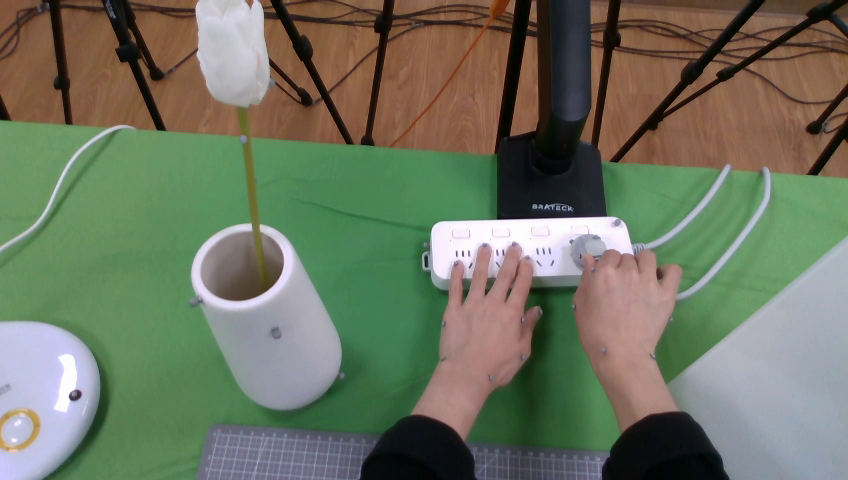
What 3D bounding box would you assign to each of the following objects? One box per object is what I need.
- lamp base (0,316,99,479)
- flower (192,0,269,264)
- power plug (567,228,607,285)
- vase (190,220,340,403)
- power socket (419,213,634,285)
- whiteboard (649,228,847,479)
[{"bbox_3d":[-0.386,0.096,0.483,0.178,0.182,0.160,33,63,20],"label":"lamp base"},{"bbox_3d":[-0.119,0.006,0.438,0.038,0.364,0.043,-6,41,-13],"label":"flower"},{"bbox_3d":[0.159,0.020,0.602,0.035,0.053,0.072,8,59,5],"label":"power plug"},{"bbox_3d":[-0.128,0.064,0.500,0.098,0.201,0.097,0,58,0],"label":"vase"},{"bbox_3d":[0.108,0.009,0.636,0.227,0.033,0.071,-1,60,-3],"label":"power socket"},{"bbox_3d":[0.370,0.110,0.461,0.144,0.307,0.215,-15,58,-32],"label":"whiteboard"}]
